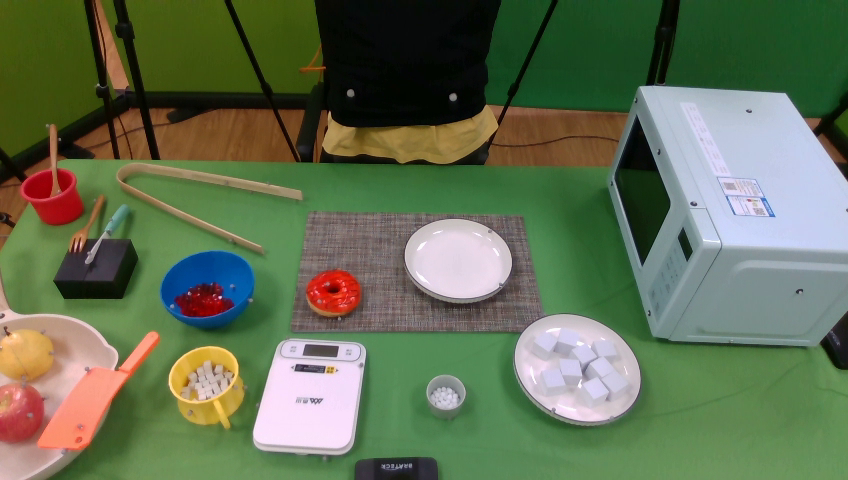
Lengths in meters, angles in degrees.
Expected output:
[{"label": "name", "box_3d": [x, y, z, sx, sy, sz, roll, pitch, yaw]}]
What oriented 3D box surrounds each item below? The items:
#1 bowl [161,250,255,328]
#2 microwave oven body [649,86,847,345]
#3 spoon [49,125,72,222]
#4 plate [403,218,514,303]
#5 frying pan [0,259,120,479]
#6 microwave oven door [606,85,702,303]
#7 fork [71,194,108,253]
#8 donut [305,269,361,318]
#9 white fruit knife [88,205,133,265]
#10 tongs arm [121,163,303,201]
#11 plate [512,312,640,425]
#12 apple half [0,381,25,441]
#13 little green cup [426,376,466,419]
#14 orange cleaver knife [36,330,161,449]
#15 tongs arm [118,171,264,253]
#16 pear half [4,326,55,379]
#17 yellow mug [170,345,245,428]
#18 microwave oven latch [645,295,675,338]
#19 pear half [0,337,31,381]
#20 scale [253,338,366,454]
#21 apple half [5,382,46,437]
[{"label": "bowl", "box_3d": [-0.362, 0.098, 1.040, 0.151, 0.077, 0.150, 2, 45, -2]}, {"label": "microwave oven body", "box_3d": [0.567, -0.053, 1.118, 0.326, 0.261, 0.439, 2, 45, -1]}, {"label": "spoon", "box_3d": [-0.718, -0.131, 1.189, 0.041, 0.021, 0.193, -4, 90, -6]}, {"label": "plate", "box_3d": [0.064, 0.042, 1.146, 0.209, 0.038, 0.208, 2, 46, -2]}, {"label": "frying pan", "box_3d": [-0.647, 0.164, 0.936, 0.307, 0.103, 0.485, -19, 58, -22]}, {"label": "microwave oven door", "box_3d": [0.422, -0.094, 1.140, 0.039, 0.245, 0.353, 2, 46, -1]}, {"label": "fork", "box_3d": [-0.634, -0.036, 1.158, 0.028, 0.019, 0.206, -8, 32, -8]}, {"label": "donut", "box_3d": [-0.160, 0.094, 1.075, 0.099, 0.048, 0.098, 4, 45, -3]}, {"label": "white fruit knife", "box_3d": [-0.583, -0.013, 1.129, 0.016, 0.027, 0.206, -2, 32, -4]}, {"label": "tongs arm", "box_3d": [-0.443, -0.115, 1.266, 0.384, 0.026, 0.050, 12, 49, 8]}, {"label": "plate", "box_3d": [0.246, 0.213, 0.999, 0.208, 0.039, 0.206, 2, 46, -2]}, {"label": "apple half", "box_3d": [-0.604, 0.250, 0.871, 0.053, 0.075, 0.080, -9, 51, -7]}, {"label": "little green cup", "box_3d": [0.033, 0.248, 0.950, 0.061, 0.039, 0.061, 2, 46, -2]}, {"label": "orange cleaver knife", "box_3d": [-0.466, 0.210, 0.880, 0.077, 0.012, 0.210, 15, 46, 9]}, {"label": "tongs arm", "box_3d": [-0.473, -0.057, 1.209, 0.386, 0.028, 0.028, 23, 55, 18]}, {"label": "pear half", "box_3d": [-0.609, 0.159, 0.934, 0.076, 0.110, 0.056, 32, 52, 20]}, {"label": "yellow mug", "box_3d": [-0.322, 0.230, 0.922, 0.100, 0.064, 0.130, -24, 53, -25]}, {"label": "microwave oven latch", "box_3d": [0.412, 0.134, 1.061, 0.030, 0.029, 0.078, 3, 45, 0]}, {"label": "pear half", "box_3d": [-0.632, 0.185, 0.920, 0.070, 0.088, 0.031, 30, 49, 20]}, {"label": "scale", "box_3d": [-0.175, 0.236, 0.951, 0.149, 0.032, 0.199, 4, 45, 0]}, {"label": "apple half", "box_3d": [-0.567, 0.244, 0.877, 0.033, 0.082, 0.080, -9, 47, -7]}]
